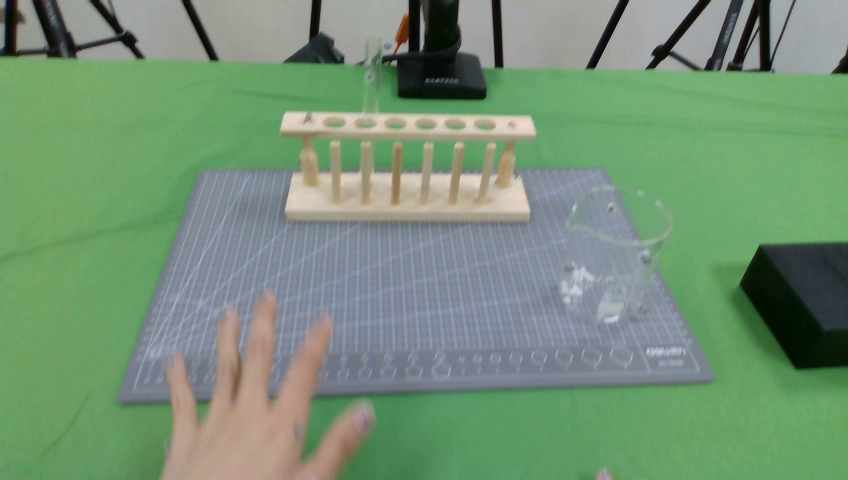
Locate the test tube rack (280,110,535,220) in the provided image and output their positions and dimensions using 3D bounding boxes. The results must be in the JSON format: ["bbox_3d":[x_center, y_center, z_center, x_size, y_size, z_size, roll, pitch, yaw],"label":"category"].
[{"bbox_3d":[-0.016,-0.073,0.601,0.243,0.086,0.066,0,41,-4],"label":"test tube rack"}]

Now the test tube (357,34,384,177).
[{"bbox_3d":[-0.053,-0.122,0.578,0.017,0.151,0.017,6,40,-5],"label":"test tube"}]

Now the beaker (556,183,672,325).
[{"bbox_3d":[0.149,0.015,0.501,0.084,0.101,0.073,-6,42,-9],"label":"beaker"}]
